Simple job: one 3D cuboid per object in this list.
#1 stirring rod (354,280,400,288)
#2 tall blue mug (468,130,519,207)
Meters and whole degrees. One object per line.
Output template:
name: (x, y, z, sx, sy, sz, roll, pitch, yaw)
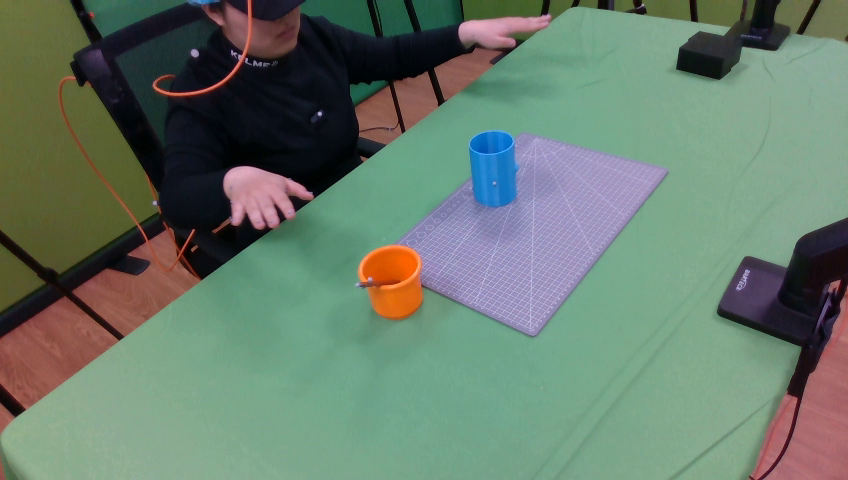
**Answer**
stirring rod: (-0.062, 0.059, 0.833, 0.014, 0.006, 0.177, 7, -1, 13)
tall blue mug: (0.114, -0.131, 1.045, 0.078, 0.108, 0.106, -20, 41, -11)
